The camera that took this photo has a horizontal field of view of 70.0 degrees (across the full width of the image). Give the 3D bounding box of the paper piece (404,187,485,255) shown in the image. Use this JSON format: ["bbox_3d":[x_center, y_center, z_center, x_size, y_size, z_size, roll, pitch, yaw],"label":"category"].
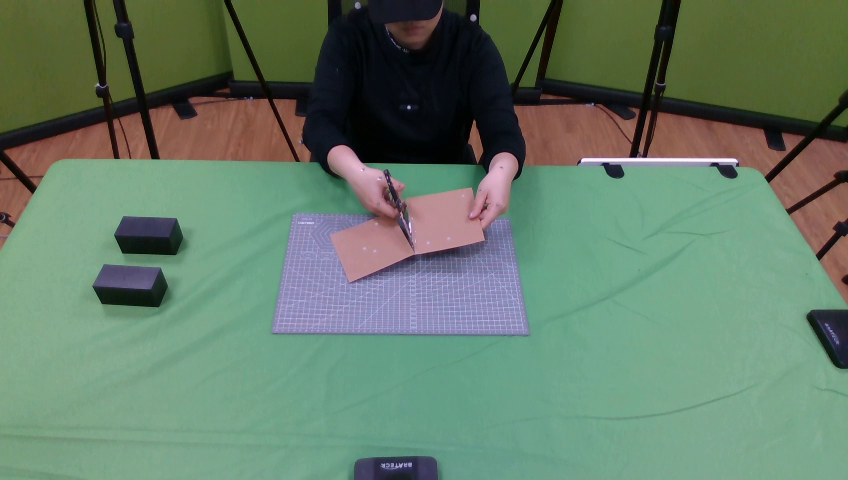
[{"bbox_3d":[0.037,-0.039,1.168,0.138,0.009,0.135,-9,60,-1],"label":"paper piece"}]

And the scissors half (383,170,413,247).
[{"bbox_3d":[-0.049,-0.059,1.169,0.013,0.040,0.174,-21,78,2],"label":"scissors half"}]

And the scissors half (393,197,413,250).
[{"bbox_3d":[-0.047,-0.050,1.188,0.013,0.040,0.174,-19,56,-3],"label":"scissors half"}]

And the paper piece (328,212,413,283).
[{"bbox_3d":[-0.105,0.010,1.167,0.135,0.004,0.135,-23,47,-7],"label":"paper piece"}]
